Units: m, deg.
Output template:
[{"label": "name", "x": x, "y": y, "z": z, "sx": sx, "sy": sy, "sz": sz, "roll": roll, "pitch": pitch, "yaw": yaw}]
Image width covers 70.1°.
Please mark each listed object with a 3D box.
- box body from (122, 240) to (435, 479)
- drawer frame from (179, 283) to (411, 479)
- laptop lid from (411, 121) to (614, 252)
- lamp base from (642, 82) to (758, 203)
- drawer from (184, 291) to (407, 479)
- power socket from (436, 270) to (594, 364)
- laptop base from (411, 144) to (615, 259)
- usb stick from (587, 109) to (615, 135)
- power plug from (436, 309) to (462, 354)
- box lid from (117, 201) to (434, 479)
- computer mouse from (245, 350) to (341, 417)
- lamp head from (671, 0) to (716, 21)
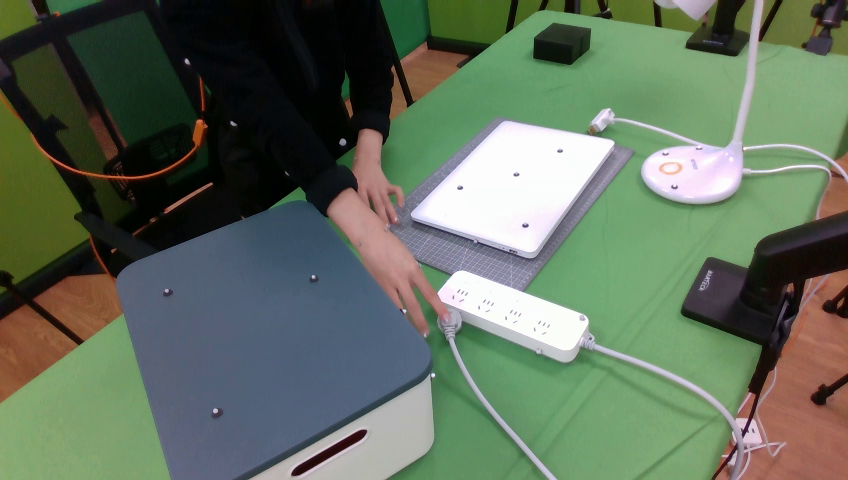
[{"label": "box body", "x": -0.175, "y": 0.142, "z": 0.724, "sx": 0.255, "sy": 0.161, "sz": 0.360, "roll": -25, "pitch": 43, "yaw": -20}, {"label": "drawer frame", "x": -0.155, "y": 0.179, "z": 0.727, "sx": 0.202, "sy": 0.083, "sz": 0.211, "roll": -28, "pitch": 49, "yaw": -20}, {"label": "laptop lid", "x": 0.164, "y": -0.112, "z": 1.068, "sx": 0.240, "sy": 0.013, "sz": 0.357, "roll": 19, "pitch": 46, "yaw": 31}, {"label": "lamp base", "x": 0.464, "y": -0.174, "z": 0.992, "sx": 0.179, "sy": 0.181, "sz": 0.159, "roll": -5, "pitch": 41, "yaw": -1}, {"label": "drawer", "x": -0.155, "y": 0.180, "z": 0.720, "sx": 0.195, "sy": 0.073, "sz": 0.210, "roll": -27, "pitch": 40, "yaw": -21}, {"label": "power socket", "x": 0.118, "y": 0.102, "z": 0.830, "sx": 0.225, "sy": 0.033, "sz": 0.072, "roll": 20, "pitch": 49, "yaw": 28}, {"label": "laptop base", "x": 0.167, "y": -0.102, "z": 1.074, "sx": 0.234, "sy": 0.023, "sz": 0.355, "roll": 17, "pitch": 45, "yaw": 30}, {"label": "usb stick", "x": 0.344, "y": -0.229, "z": 1.184, "sx": 0.059, "sy": 0.021, "sz": 0.027, "roll": -47, "pitch": 21, "yaw": -8}, {"label": "power plug", "x": 0.030, "y": 0.125, "z": 0.810, "sx": 0.035, "sy": 0.053, "sz": 0.072, "roll": 6, "pitch": 58, "yaw": 12}, {"label": "box lid", "x": -0.182, "y": 0.087, "z": 0.675, "sx": 0.264, "sy": 0.015, "sz": 0.368, "roll": -25, "pitch": 42, "yaw": -20}, {"label": "computer mouse", "x": -0.164, "y": 0.173, "z": 0.754, "sx": 0.118, "sy": 0.041, "sz": 0.062, "roll": -18, "pitch": 33, "yaw": -18}, {"label": "lamp head", "x": 0.375, "y": -0.373, "z": 0.807, "sx": 0.122, "sy": 0.113, "sz": 0.112, "roll": -40, "pitch": 27, "yaw": 32}]
